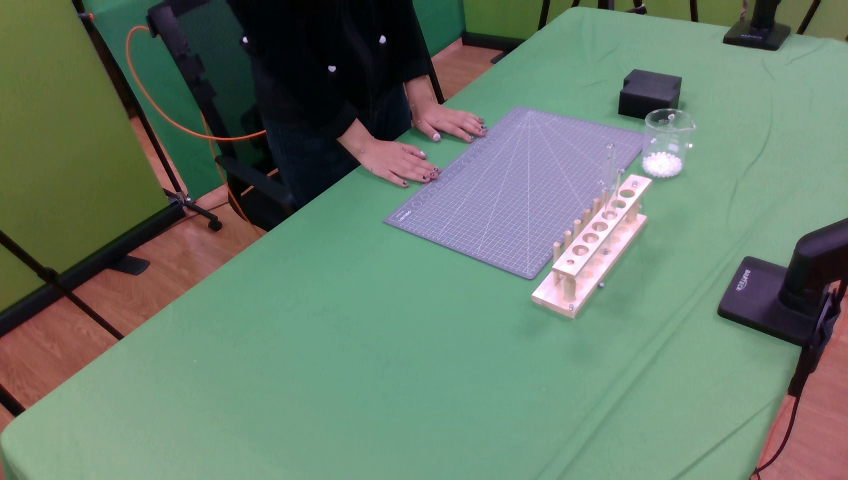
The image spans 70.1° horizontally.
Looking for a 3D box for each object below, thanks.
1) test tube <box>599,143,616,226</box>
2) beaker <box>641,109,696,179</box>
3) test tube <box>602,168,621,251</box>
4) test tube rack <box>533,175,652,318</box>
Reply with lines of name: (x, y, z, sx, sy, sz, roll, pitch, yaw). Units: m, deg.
test tube: (0.273, -0.081, 0.909, 0.017, 0.151, 0.017, -4, 42, 4)
beaker: (0.415, -0.161, 1.035, 0.083, 0.101, 0.074, 19, 48, 29)
test tube: (0.264, -0.039, 0.854, 0.017, 0.151, 0.017, -5, 44, 6)
test tube rack: (0.250, -0.001, 0.889, 0.066, 0.085, 0.243, 22, 49, 33)
